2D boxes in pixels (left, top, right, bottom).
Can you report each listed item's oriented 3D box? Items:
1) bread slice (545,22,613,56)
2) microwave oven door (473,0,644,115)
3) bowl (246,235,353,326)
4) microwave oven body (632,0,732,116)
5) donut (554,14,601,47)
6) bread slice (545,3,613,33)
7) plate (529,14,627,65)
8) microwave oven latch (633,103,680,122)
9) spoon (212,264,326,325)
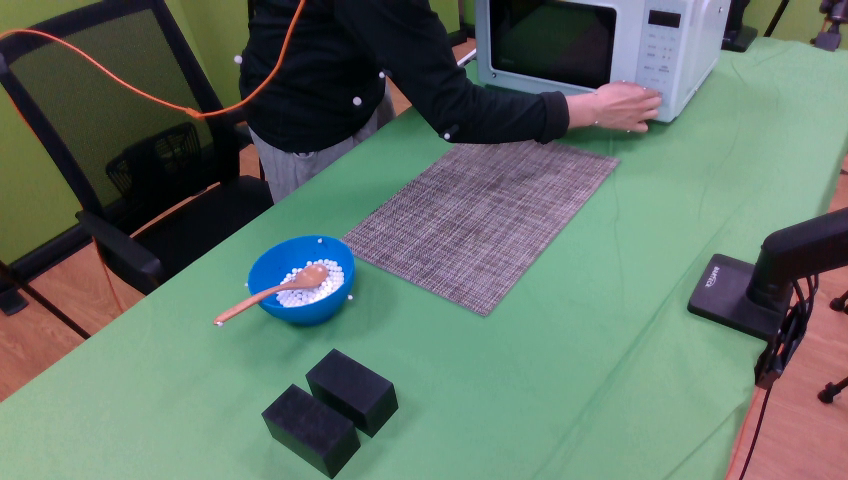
[{"bbox_3d":[0.339,-0.440,1.312,0.134,0.018,0.106,-12,49,-7],"label":"bread slice"},{"bbox_3d":[0.257,-0.396,1.199,0.353,0.245,0.039,21,48,29],"label":"microwave oven door"},{"bbox_3d":[-0.170,0.070,0.868,0.151,0.077,0.150,-4,40,4],"label":"bowl"},{"bbox_3d":[0.377,-0.463,1.267,0.438,0.261,0.327,21,49,30],"label":"microwave oven body"},{"bbox_3d":[0.328,-0.452,1.296,0.099,0.048,0.098,-5,46,5],"label":"donut"},{"bbox_3d":[0.330,-0.473,1.280,0.131,0.019,0.104,-10,38,0],"label":"bread slice"},{"bbox_3d":[0.332,-0.433,1.318,0.207,0.039,0.206,-4,42,5],"label":"plate"},{"bbox_3d":[0.443,-0.250,1.158,0.078,0.029,0.030,21,49,30],"label":"microwave oven latch"},{"bbox_3d":[-0.207,0.072,0.822,0.041,0.021,0.195,28,29,26],"label":"spoon"}]
